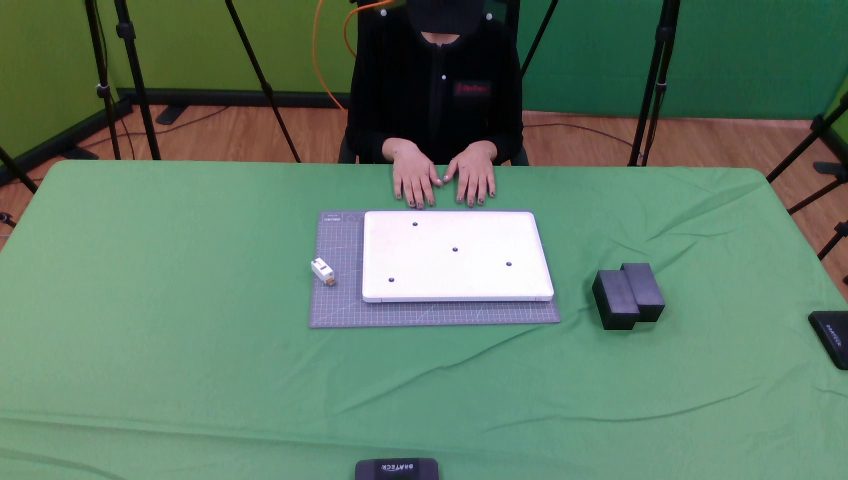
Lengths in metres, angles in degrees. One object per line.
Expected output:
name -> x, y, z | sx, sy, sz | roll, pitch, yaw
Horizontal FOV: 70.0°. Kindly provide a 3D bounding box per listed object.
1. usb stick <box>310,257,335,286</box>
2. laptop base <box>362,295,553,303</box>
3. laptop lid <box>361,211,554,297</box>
usb stick -> -0.185, 0.060, 1.119 | 0.021, 0.027, 0.059 | -30, 57, -28
laptop base -> 0.058, 0.030, 1.176 | 0.355, 0.023, 0.234 | 0, 43, -4
laptop lid -> 0.058, 0.020, 1.169 | 0.357, 0.013, 0.240 | 1, 44, -3
